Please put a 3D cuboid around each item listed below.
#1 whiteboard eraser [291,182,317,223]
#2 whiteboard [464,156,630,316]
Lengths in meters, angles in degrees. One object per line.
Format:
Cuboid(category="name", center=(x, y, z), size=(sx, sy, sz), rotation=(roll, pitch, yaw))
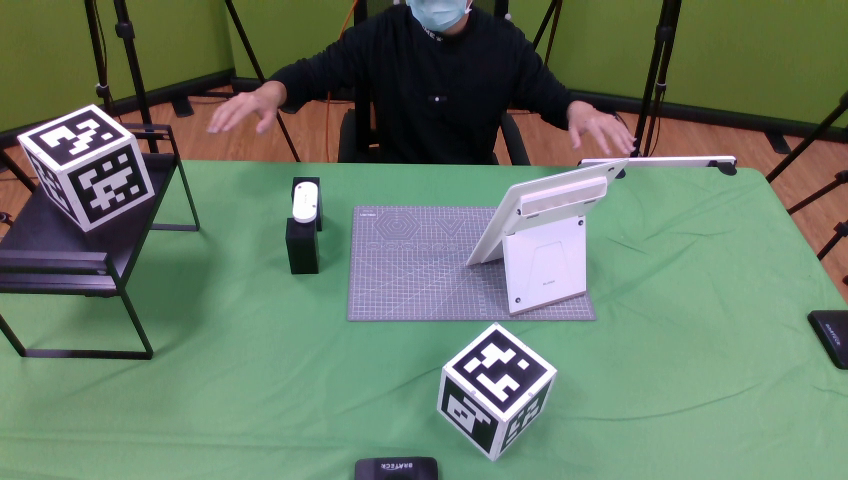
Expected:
Cuboid(category="whiteboard eraser", center=(-0.219, -0.070, 1.111), size=(0.041, 0.019, 0.100), rotation=(-2, 45, -3))
Cuboid(category="whiteboard", center=(0.224, 0.014, 1.041), size=(0.217, 0.306, 0.143), rotation=(-14, 68, -17))
